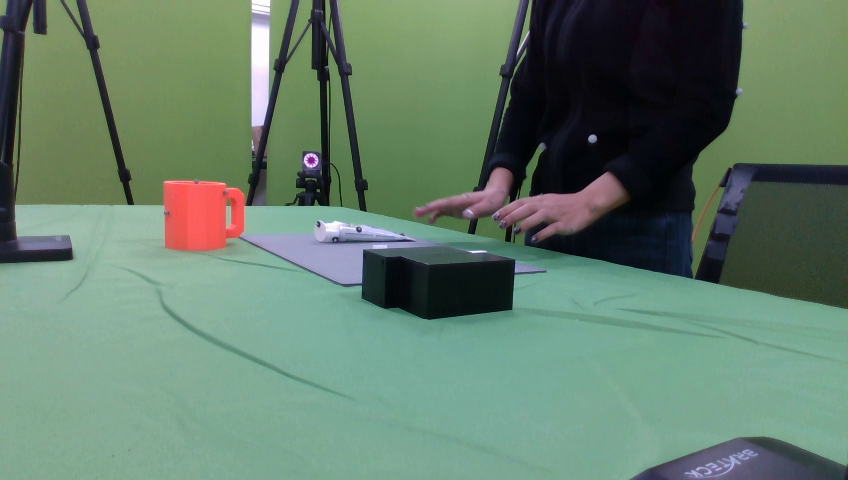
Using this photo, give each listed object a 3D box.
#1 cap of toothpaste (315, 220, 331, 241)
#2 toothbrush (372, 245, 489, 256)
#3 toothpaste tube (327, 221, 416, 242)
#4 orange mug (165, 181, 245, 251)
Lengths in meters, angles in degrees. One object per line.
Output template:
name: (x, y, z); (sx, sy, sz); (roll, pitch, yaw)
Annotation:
cap of toothpaste: (-0.164, -0.016, 0.982); (0.011, 0.037, 0.037); (-8, 12, -43)
toothbrush: (0.012, 0.016, 0.874); (0.183, 0.016, 0.014); (1, -7, -22)
toothpaste tube: (-0.095, -0.013, 1.026); (0.166, 0.034, 0.055); (2, 13, -33)
orange mug: (-0.326, -0.040, 0.911); (0.083, 0.101, 0.127); (8, 14, 37)
